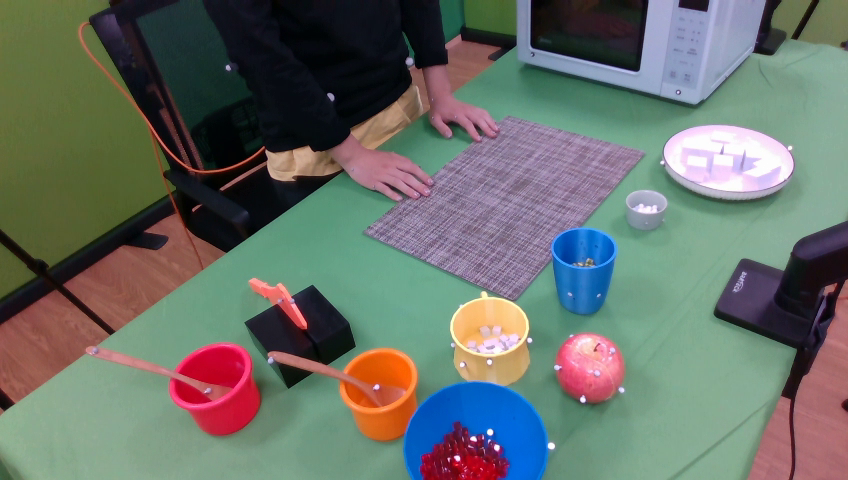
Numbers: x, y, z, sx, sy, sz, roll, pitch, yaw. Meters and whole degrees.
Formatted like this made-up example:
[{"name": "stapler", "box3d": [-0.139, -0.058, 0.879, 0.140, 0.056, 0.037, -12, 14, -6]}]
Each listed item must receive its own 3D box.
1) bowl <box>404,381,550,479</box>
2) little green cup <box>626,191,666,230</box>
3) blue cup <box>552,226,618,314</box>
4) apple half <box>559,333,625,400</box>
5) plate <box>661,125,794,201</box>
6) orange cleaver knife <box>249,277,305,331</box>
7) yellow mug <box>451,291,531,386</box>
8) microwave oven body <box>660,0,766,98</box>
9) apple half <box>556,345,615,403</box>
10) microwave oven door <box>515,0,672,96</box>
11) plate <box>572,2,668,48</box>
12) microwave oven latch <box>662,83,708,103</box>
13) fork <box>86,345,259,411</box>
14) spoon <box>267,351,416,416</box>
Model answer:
[{"name": "bowl", "box3d": [0.058, 0.235, 0.645, 0.151, 0.077, 0.150, -4, 39, 4]}, {"name": "little green cup", "box3d": [0.352, -0.046, 0.963, 0.061, 0.039, 0.061, -4, 40, 4]}, {"name": "blue cup", "box3d": [0.218, 0.047, 0.826, 0.092, 0.101, 0.092, -6, 40, 5]}, {"name": "apple half", "box3d": [0.209, 0.147, 0.730, 0.080, 0.075, 0.053, 26, 48, 38]}, {"name": "plate", "box3d": [0.513, -0.128, 1.035, 0.207, 0.039, 0.206, -4, 40, 4]}, {"name": "orange cleaver knife", "box3d": [-0.210, 0.088, 0.855, 0.012, 0.077, 0.210, -28, 15, -25]}, {"name": "yellow mug", "box3d": [0.085, 0.120, 0.786, 0.100, 0.064, 0.130, -7, 39, 1]}, {"name": "microwave oven body", "box3d": [0.472, -0.513, 1.317, 0.438, 0.261, 0.327, 26, 51, 34]}, {"name": "apple half", "box3d": [0.181, 0.167, 0.709, 0.080, 0.081, 0.033, 29, 50, 35]}, {"name": "microwave oven door", "box3d": [0.343, -0.455, 1.259, 0.353, 0.245, 0.039, 26, 51, 33]}, {"name": "plate", "box3d": [0.441, -0.483, 1.366, 0.209, 0.038, 0.208, -4, 41, 4]}, {"name": "microwave oven latch", "box3d": [0.518, -0.296, 1.204, 0.078, 0.029, 0.030, 27, 52, 35]}, {"name": "fork", "box3d": [-0.298, 0.166, 0.728, 0.209, 0.018, 0.028, 28, 47, -23]}, {"name": "spoon", "box3d": [-0.090, 0.162, 0.699, 0.021, 0.195, 0.041, -44, 31, 27]}]
